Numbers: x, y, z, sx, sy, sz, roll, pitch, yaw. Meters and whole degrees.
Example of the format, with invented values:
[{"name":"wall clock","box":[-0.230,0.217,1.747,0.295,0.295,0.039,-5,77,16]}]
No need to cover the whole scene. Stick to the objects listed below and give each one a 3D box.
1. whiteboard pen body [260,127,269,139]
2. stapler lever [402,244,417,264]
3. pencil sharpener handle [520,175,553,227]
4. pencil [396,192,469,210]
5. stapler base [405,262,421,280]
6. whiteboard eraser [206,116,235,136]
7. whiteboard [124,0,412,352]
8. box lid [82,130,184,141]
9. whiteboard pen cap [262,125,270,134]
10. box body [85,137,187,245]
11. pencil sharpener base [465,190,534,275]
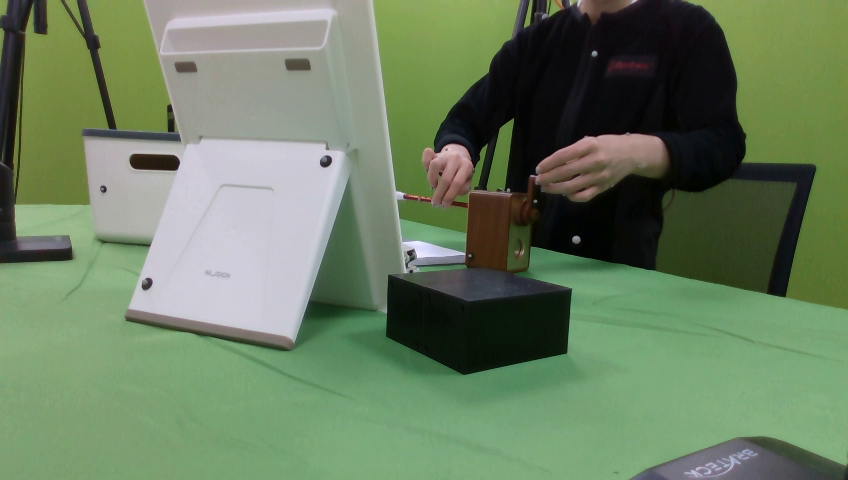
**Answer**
[{"name":"whiteboard pen body","box":[-0.366,-0.247,1.392,0.017,0.017,0.140,0,3,-17]},{"name":"stapler lever","box":[-0.066,0.003,0.755,0.117,0.040,0.027,9,13,23]},{"name":"pencil sharpener handle","box":[0.146,-0.049,0.774,0.030,0.067,0.036,9,5,40]},{"name":"pencil","box":[0.021,-0.055,0.880,0.193,0.012,0.012,12,12,40]},{"name":"stapler base","box":[-0.069,0.027,0.759,0.130,0.024,0.041,9,13,23]},{"name":"whiteboard eraser","box":[-0.450,-0.252,1.335,0.056,0.042,0.112,1,7,-22]},{"name":"whiteboard","box":[-0.151,-0.049,0.472,0.216,0.305,0.144,6,27,24]},{"name":"box lid","box":[-0.337,-0.161,1.011,0.263,0.015,0.372,4,6,11]},{"name":"whiteboard pen cap","box":[-0.349,-0.244,1.336,0.018,0.018,0.033,0,2,-17]},{"name":"box body","box":[-0.340,-0.088,1.022,0.254,0.160,0.364,4,7,11]},{"name":"pencil sharpener base","box":[0.104,-0.012,0.811,0.076,0.107,0.062,9,9,40]}]
